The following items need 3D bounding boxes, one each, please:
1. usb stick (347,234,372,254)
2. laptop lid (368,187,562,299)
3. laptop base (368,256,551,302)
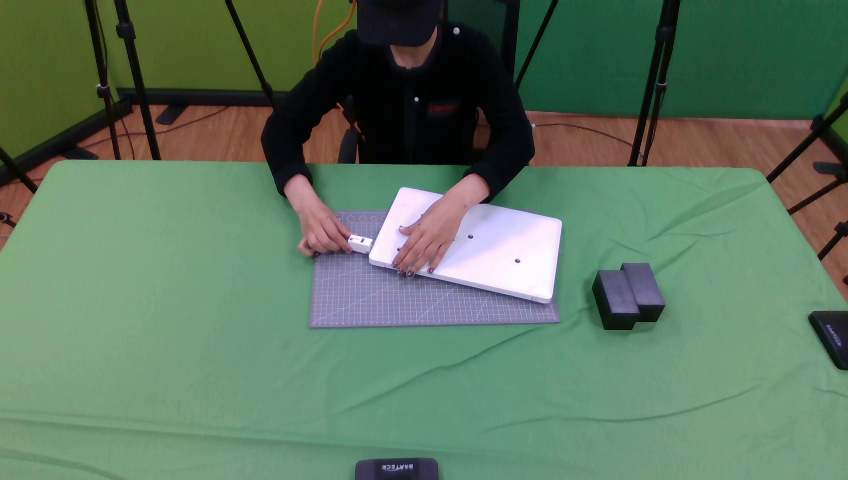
[{"bbox_3d":[-0.117,0.009,1.166,0.059,0.027,0.021,16,48,7],"label":"usb stick"},{"bbox_3d":[0.090,-0.005,1.198,0.356,0.013,0.240,14,43,9],"label":"laptop lid"},{"bbox_3d":[0.089,0.005,1.205,0.354,0.023,0.234,12,42,8],"label":"laptop base"}]
